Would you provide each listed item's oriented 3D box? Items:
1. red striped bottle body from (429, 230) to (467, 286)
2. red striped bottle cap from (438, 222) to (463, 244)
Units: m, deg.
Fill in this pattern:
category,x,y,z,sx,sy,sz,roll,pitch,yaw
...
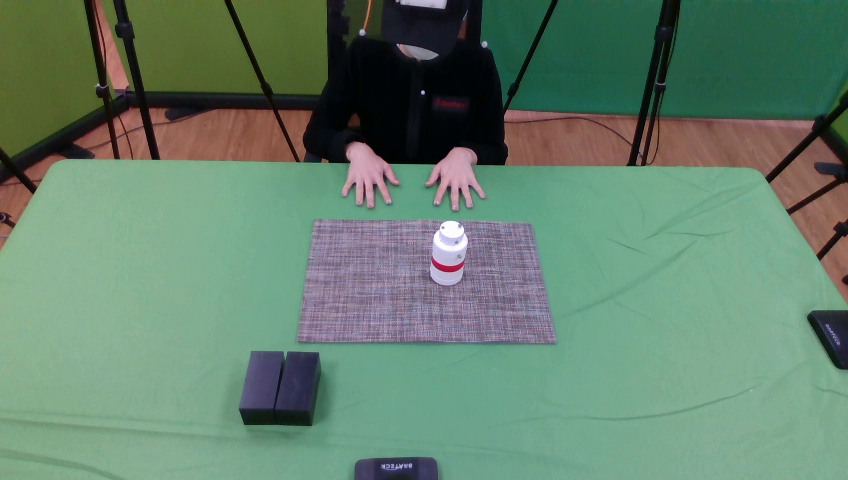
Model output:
category,x,y,z,sx,sy,sz,roll,pitch,yaw
red striped bottle body,0.044,0.024,1.105,0.063,0.120,0.062,3,45,-2
red striped bottle cap,0.047,-0.013,1.067,0.044,0.018,0.044,2,43,-2
